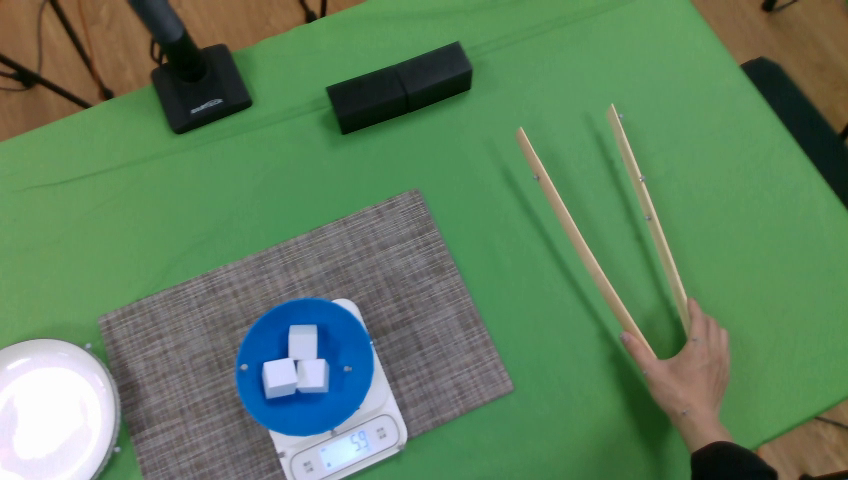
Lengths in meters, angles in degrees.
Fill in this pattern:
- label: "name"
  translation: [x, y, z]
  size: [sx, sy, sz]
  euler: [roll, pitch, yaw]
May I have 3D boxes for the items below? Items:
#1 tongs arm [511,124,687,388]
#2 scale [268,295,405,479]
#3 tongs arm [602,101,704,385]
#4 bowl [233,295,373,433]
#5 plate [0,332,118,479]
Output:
- label: "tongs arm"
  translation: [0.210, 0.015, 0.764]
  size: [0.028, 0.028, 0.385]
  euler: [-23, 76, -20]
- label: "scale"
  translation: [-0.123, 0.178, 0.734]
  size: [0.149, 0.032, 0.199]
  euler: [-22, 73, -7]
- label: "tongs arm"
  translation: [0.281, -0.006, 0.782]
  size: [0.051, 0.026, 0.382]
  euler: [-12, 74, -14]
- label: "bowl"
  translation: [-0.131, 0.144, 0.690]
  size: [0.151, 0.077, 0.150]
  euler: [0, 71, -1]
- label: "plate"
  translation: [-0.467, 0.216, 0.723]
  size: [0.208, 0.039, 0.206]
  euler: [0, 72, 0]
